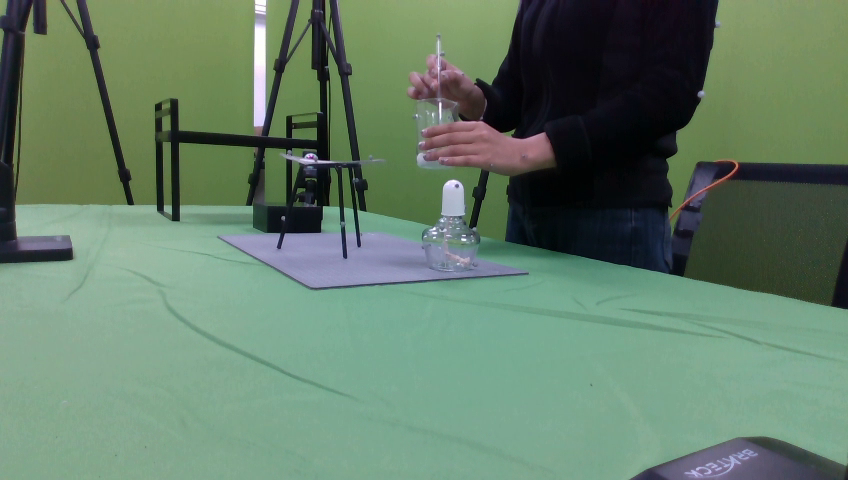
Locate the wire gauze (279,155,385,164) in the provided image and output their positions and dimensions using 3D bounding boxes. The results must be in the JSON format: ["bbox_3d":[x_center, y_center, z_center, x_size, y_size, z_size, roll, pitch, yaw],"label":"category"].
[{"bbox_3d":[-0.134,-0.114,0.875,0.122,0.011,0.124,-1,9,-30],"label":"wire gauze"}]

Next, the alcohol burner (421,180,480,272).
[{"bbox_3d":[0.036,-0.018,0.785,0.078,0.119,0.078,3,6,0],"label":"alcohol burner"}]

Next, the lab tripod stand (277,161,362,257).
[{"bbox_3d":[-0.143,-0.049,0.884,0.148,0.131,0.148,1,9,0],"label":"lab tripod stand"}]

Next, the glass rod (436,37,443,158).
[{"bbox_3d":[0.025,-0.225,0.952,0.008,0.199,0.008,-1,-9,0],"label":"glass rod"}]

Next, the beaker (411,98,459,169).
[{"bbox_3d":[0.022,-0.167,0.956,0.074,0.100,0.083,0,-2,-44],"label":"beaker"}]

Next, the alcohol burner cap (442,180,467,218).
[{"bbox_3d":[0.039,-0.053,0.780,0.034,0.048,0.034,-1,11,0],"label":"alcohol burner cap"}]
